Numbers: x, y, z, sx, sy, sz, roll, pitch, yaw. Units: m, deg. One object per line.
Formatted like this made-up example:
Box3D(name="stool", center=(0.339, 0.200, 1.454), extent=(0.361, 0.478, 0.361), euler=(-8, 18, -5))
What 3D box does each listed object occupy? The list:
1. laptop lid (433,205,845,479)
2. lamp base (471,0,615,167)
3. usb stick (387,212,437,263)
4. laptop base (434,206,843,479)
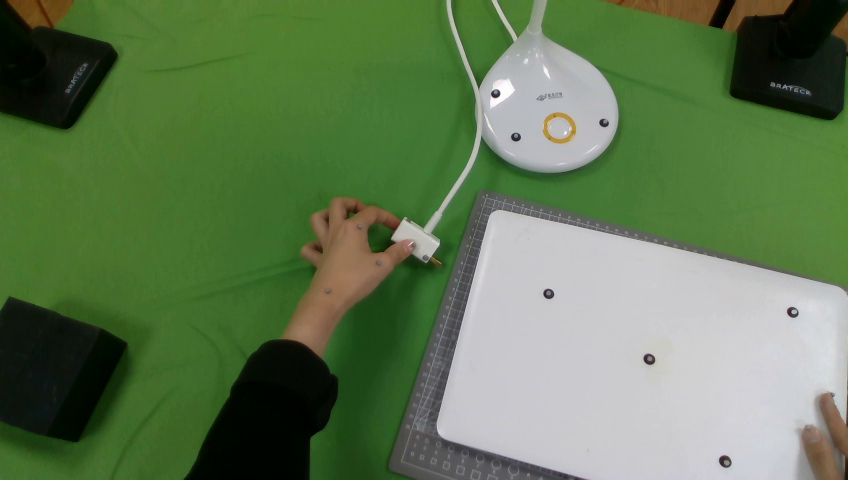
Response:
Box3D(name="laptop lid", center=(0.204, 0.107, 0.561), extent=(0.356, 0.013, 0.240), euler=(15, 71, 7))
Box3D(name="lamp base", center=(0.126, -0.193, 0.615), extent=(0.161, 0.181, 0.177), euler=(-21, 65, -8))
Box3D(name="usb stick", center=(-0.007, 0.000, 0.613), extent=(0.059, 0.021, 0.027), euler=(38, 101, -10))
Box3D(name="laptop base", center=(0.205, 0.109, 0.573), extent=(0.354, 0.023, 0.234), euler=(13, 71, 6))
